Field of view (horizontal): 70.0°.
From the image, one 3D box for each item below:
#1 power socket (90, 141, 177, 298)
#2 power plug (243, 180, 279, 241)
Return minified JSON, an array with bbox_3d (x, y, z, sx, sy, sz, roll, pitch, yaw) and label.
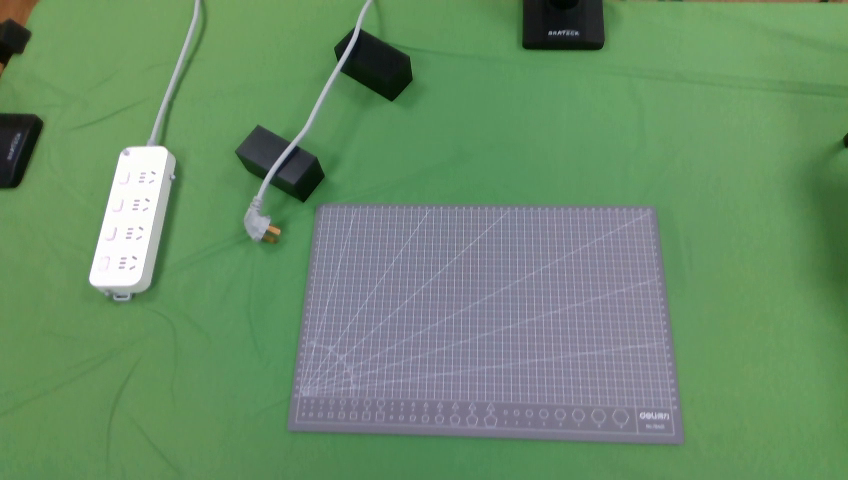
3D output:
[{"bbox_3d":[-0.387,-0.035,0.814,0.072,0.033,0.225,0,66,3],"label":"power socket"},{"bbox_3d":[-0.205,-0.033,0.788,0.053,0.035,0.072,29,109,-23],"label":"power plug"}]
